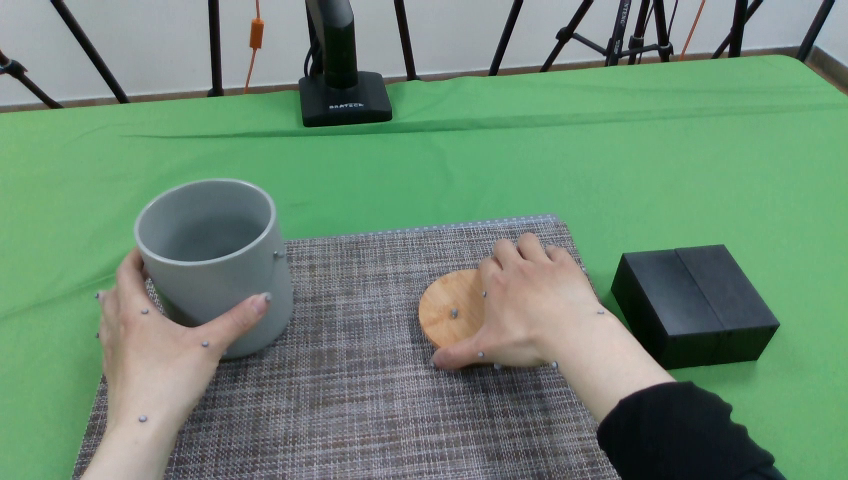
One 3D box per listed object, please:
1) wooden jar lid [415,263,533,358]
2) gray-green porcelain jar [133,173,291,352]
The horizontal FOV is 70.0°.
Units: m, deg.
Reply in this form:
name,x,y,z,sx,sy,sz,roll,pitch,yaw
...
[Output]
name,x,y,z,sx,sy,sz,roll,pitch,yaw
wooden jar lid,0.045,0.065,0.555,0.108,0.021,0.107,2,44,-2
gray-green porcelain jar,-0.171,0.024,0.511,0.106,0.127,0.105,1,43,-1
